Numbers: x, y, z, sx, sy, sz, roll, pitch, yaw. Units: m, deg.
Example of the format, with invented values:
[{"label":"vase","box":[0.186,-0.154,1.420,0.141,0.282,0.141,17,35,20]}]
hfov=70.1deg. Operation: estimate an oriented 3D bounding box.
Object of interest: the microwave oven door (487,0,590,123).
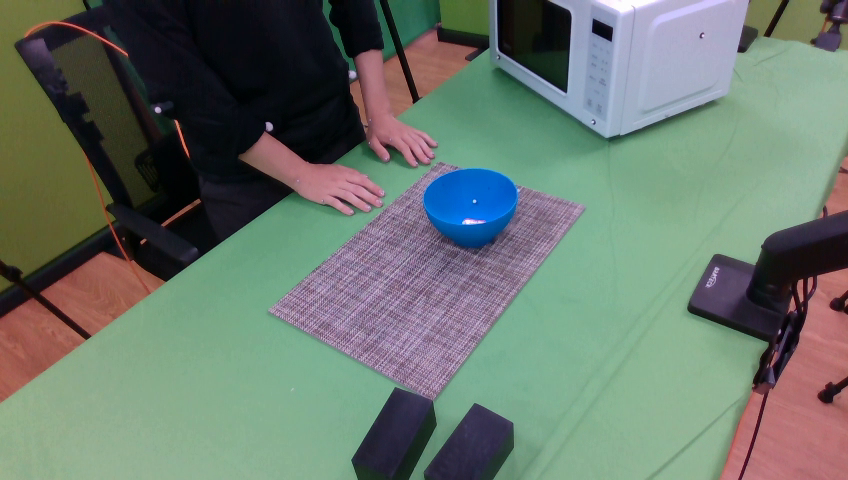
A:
[{"label":"microwave oven door","box":[0.232,-0.420,1.231,0.039,0.245,0.352,-22,43,-16]}]

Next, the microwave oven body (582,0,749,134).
[{"label":"microwave oven body","box":[0.382,-0.445,1.246,0.327,0.261,0.437,-22,42,-16]}]

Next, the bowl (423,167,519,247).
[{"label":"bowl","box":[0.075,-0.041,0.959,0.151,0.077,0.150,-4,40,4]}]

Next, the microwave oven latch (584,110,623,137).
[{"label":"microwave oven latch","box":[0.337,-0.222,1.142,0.030,0.029,0.078,-21,42,-14]}]
